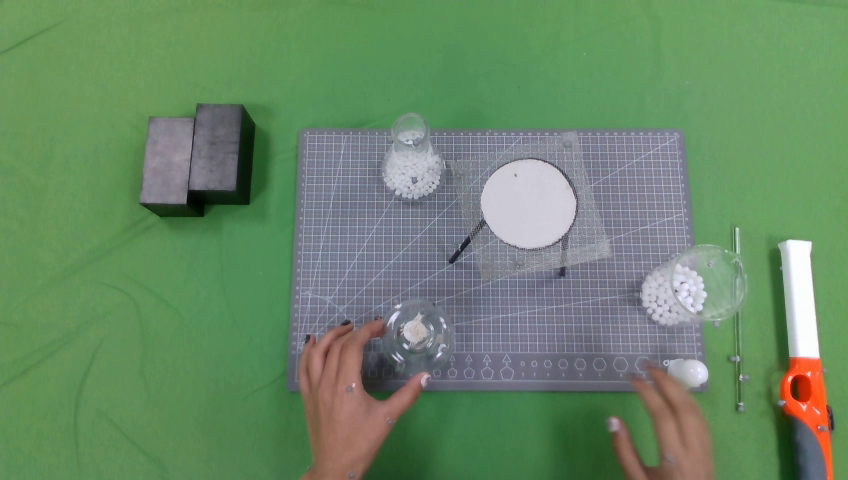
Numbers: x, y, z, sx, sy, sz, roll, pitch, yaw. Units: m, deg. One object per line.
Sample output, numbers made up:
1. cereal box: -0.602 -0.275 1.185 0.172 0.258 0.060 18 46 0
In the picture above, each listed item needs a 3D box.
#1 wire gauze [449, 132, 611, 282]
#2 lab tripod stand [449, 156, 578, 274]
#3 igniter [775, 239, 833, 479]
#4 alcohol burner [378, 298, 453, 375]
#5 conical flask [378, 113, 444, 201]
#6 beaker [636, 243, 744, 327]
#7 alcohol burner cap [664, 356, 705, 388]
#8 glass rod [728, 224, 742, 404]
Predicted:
1. wire gauze: 0.096 -0.031 0.553 0.125 0.011 0.121 -12 78 -2
2. lab tripod stand: 0.094 -0.018 0.619 0.148 0.132 0.147 0 79 0
3. igniter: 0.401 0.134 0.644 0.057 0.025 0.275 5 77 -9
4. alcohol burner: -0.009 0.094 0.604 0.078 0.119 0.077 0 76 2
5. conical flask: -0.015 -0.092 0.641 0.075 0.122 0.075 0 77 0
6. beaker: 0.270 0.049 0.623 0.084 0.100 0.073 -36 80 -9
7. alcohol burner cap: 0.275 0.137 0.632 0.034 0.048 0.033 0 77 0
8. glass rod: 0.342 0.078 0.666 0.008 0.008 0.199 4 77 0
